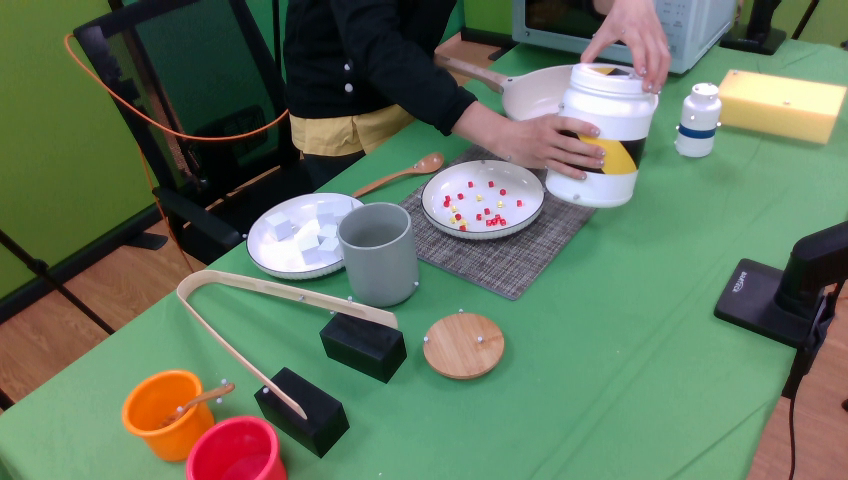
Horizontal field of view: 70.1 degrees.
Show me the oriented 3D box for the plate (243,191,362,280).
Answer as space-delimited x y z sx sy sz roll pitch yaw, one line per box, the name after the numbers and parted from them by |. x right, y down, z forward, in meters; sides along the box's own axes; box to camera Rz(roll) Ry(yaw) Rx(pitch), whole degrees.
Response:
-0.188 -0.005 0.992 0.207 0.039 0.206 -3 40 3 | plate

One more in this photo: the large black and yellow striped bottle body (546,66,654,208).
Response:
0.260 -0.154 0.890 0.131 0.184 0.130 5 27 -2 | large black and yellow striped bottle body

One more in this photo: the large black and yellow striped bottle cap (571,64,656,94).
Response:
0.266 -0.228 0.849 0.115 0.019 0.114 4 27 -1 | large black and yellow striped bottle cap

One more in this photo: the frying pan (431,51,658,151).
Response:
0.216 -0.303 1.223 0.484 0.103 0.308 29 50 24 | frying pan

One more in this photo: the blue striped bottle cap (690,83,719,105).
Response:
0.481 -0.251 1.038 0.044 0.021 0.044 -5 40 4 | blue striped bottle cap

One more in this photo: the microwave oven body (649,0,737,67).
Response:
0.475 -0.602 1.411 0.438 0.261 0.327 23 50 32 | microwave oven body

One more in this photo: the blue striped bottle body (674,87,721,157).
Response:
0.486 -0.213 1.071 0.063 0.121 0.063 -4 41 4 | blue striped bottle body

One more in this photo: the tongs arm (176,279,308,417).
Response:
-0.255 0.132 0.800 0.028 0.028 0.384 -40 40 -23 | tongs arm

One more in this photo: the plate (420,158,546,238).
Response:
0.099 -0.067 1.017 0.209 0.038 0.208 -4 40 3 | plate

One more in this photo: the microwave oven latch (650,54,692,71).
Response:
0.530 -0.386 1.301 0.078 0.029 0.030 23 50 31 | microwave oven latch

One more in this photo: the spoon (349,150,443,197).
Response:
-0.051 -0.123 1.120 0.194 0.022 0.041 -23 61 -18 | spoon

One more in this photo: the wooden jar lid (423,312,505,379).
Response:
0.053 0.142 0.800 0.108 0.021 0.108 -5 39 4 | wooden jar lid

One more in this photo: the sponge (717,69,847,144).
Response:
0.663 -0.256 1.141 0.205 0.061 0.118 19 47 27 | sponge

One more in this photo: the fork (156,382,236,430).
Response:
-0.262 0.189 0.690 0.018 0.206 0.028 49 43 -7 | fork

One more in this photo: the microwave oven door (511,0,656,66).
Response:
0.351 -0.540 1.349 0.353 0.245 0.039 24 51 31 | microwave oven door

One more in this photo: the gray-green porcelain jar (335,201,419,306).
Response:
-0.064 0.024 0.872 0.106 0.127 0.105 -4 41 4 | gray-green porcelain jar

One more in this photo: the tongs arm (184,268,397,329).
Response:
-0.203 0.084 0.847 0.382 0.027 0.051 11 44 35 | tongs arm
